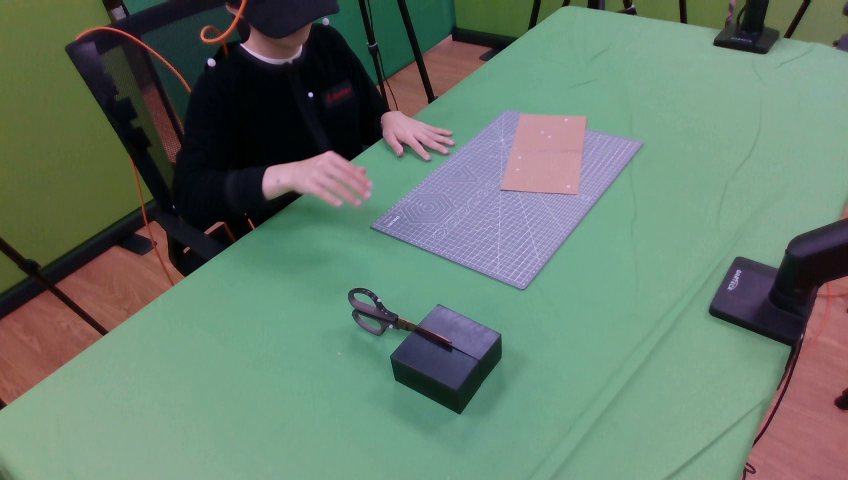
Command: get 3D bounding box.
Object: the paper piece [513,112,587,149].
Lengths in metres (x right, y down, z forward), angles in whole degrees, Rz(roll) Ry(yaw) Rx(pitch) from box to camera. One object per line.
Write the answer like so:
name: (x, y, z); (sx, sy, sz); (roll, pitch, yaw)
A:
paper piece: (0.252, -0.215, 1.196); (0.135, 0.004, 0.135); (6, 42, 14)

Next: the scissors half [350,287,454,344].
scissors half: (-0.032, 0.101, 0.796); (0.174, 0.040, 0.013); (23, 39, 29)

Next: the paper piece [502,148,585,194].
paper piece: (0.219, -0.128, 1.101); (0.135, 0.009, 0.138); (2, 42, 17)

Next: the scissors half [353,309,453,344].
scissors half: (-0.030, 0.119, 0.806); (0.174, 0.040, 0.013); (6, 34, 40)
